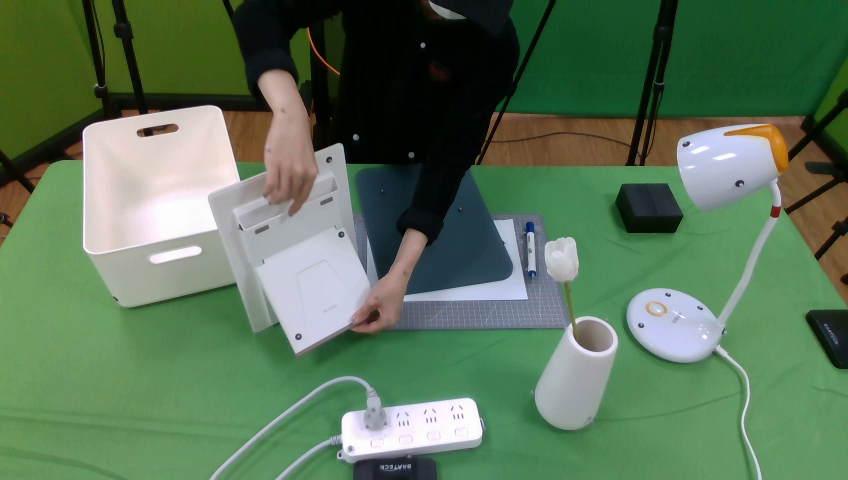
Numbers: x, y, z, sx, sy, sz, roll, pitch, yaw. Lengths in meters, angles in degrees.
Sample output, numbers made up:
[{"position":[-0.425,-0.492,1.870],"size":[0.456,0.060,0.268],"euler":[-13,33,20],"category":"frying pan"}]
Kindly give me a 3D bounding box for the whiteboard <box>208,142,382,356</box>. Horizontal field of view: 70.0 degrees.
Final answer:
[{"position":[-0.174,0.039,0.947],"size":[0.217,0.307,0.143],"euler":[-27,51,-25],"category":"whiteboard"}]

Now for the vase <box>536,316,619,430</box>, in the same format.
[{"position":[0.229,0.200,0.901],"size":[0.098,0.201,0.097],"euler":[3,46,-3],"category":"vase"}]

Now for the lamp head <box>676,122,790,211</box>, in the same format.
[{"position":[0.423,-0.104,0.819],"size":[0.122,0.113,0.112],"euler":[-13,33,40],"category":"lamp head"}]

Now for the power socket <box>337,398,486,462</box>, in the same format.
[{"position":[-0.018,0.285,0.914],"size":[0.227,0.033,0.071],"euler":[-4,46,-8],"category":"power socket"}]

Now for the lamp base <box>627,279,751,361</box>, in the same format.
[{"position":[0.460,0.100,1.027],"size":[0.178,0.181,0.160],"euler":[27,51,17],"category":"lamp base"}]

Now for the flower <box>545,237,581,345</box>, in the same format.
[{"position":[0.213,0.137,0.846],"size":[0.038,0.364,0.044],"euler":[22,55,40],"category":"flower"}]

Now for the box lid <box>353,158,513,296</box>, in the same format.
[{"position":[0.009,-0.039,1.242],"size":[0.264,0.015,0.369],"euler":[-8,47,-11],"category":"box lid"}]

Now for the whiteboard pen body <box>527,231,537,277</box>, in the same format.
[{"position":[0.211,0.018,1.191],"size":[0.017,0.017,0.140],"euler":[6,44,2],"category":"whiteboard pen body"}]

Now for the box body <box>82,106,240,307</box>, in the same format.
[{"position":[-0.471,-0.071,1.131],"size":[0.254,0.161,0.361],"euler":[-14,49,-17],"category":"box body"}]

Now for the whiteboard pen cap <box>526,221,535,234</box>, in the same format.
[{"position":[0.216,-0.022,1.234],"size":[0.018,0.018,0.033],"euler":[6,45,2],"category":"whiteboard pen cap"}]

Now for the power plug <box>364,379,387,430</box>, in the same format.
[{"position":[-0.071,0.252,0.911],"size":[0.035,0.053,0.072],"euler":[3,40,0],"category":"power plug"}]

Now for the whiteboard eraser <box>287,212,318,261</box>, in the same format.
[{"position":[-0.234,-0.007,1.173],"size":[0.055,0.042,0.112],"euler":[-4,46,-5],"category":"whiteboard eraser"}]
